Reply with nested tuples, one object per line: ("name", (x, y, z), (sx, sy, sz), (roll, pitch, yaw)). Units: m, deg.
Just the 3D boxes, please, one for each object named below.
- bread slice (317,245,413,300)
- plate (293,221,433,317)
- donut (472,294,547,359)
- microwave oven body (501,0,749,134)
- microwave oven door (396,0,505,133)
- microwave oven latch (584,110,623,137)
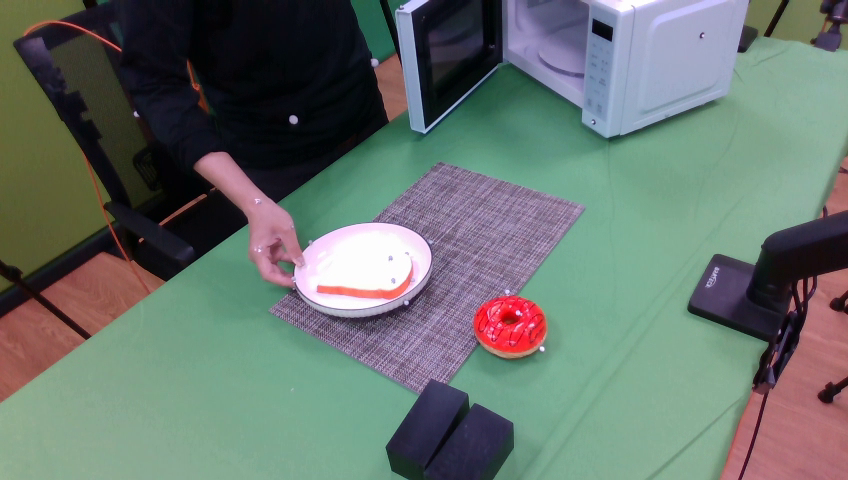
("bread slice", (-0.081, 0.046, 0.901), (0.131, 0.019, 0.105), (5, 39, 14))
("plate", (-0.088, 0.045, 0.903), (0.208, 0.039, 0.206), (-3, 37, 3))
("donut", (0.114, 0.114, 0.803), (0.099, 0.048, 0.098), (0, 40, 1))
("microwave oven body", (0.382, -0.445, 1.246), (0.327, 0.261, 0.437), (-22, 42, -16))
("microwave oven door", (0.068, -0.414, 1.247), (0.039, 0.245, 0.356), (19, 47, 27))
("microwave oven latch", (0.337, -0.222, 1.142), (0.030, 0.029, 0.078), (-21, 42, -14))
